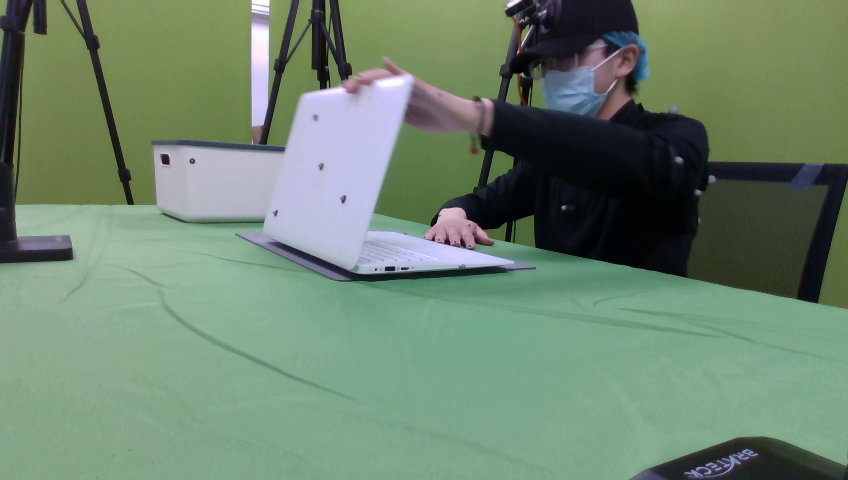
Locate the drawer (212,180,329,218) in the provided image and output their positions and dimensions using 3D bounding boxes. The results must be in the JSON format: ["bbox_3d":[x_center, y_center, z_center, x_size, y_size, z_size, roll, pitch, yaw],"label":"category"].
[{"bbox_3d":[-0.348,-0.097,1.365,0.213,0.073,0.193,-1,10,-32],"label":"drawer"}]

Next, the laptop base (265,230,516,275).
[{"bbox_3d":[-0.065,0.014,0.877,0.237,0.023,0.352,2,7,-32],"label":"laptop base"}]

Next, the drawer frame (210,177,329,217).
[{"bbox_3d":[-0.348,-0.102,1.365,0.215,0.082,0.200,-5,9,-32],"label":"drawer frame"}]

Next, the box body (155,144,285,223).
[{"bbox_3d":[-0.384,-0.132,1.346,0.366,0.160,0.253,-3,9,-36],"label":"box body"}]

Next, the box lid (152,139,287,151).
[{"bbox_3d":[-0.379,-0.205,1.338,0.373,0.015,0.262,-3,10,-36],"label":"box lid"}]

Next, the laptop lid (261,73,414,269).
[{"bbox_3d":[-0.135,-0.100,0.816,0.013,0.241,0.355,18,-1,-32],"label":"laptop lid"}]
